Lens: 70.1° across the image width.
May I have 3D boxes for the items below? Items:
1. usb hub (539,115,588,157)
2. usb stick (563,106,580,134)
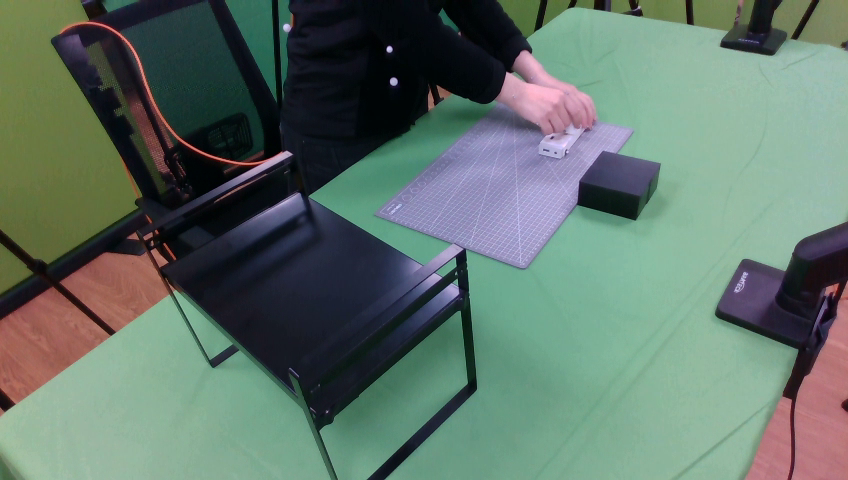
[{"bbox_3d":[0.270,-0.203,1.165,0.049,0.025,0.125,20,48,29],"label":"usb hub"},{"bbox_3d":[0.276,-0.219,1.133,0.027,0.059,0.021,22,50,26],"label":"usb stick"}]
